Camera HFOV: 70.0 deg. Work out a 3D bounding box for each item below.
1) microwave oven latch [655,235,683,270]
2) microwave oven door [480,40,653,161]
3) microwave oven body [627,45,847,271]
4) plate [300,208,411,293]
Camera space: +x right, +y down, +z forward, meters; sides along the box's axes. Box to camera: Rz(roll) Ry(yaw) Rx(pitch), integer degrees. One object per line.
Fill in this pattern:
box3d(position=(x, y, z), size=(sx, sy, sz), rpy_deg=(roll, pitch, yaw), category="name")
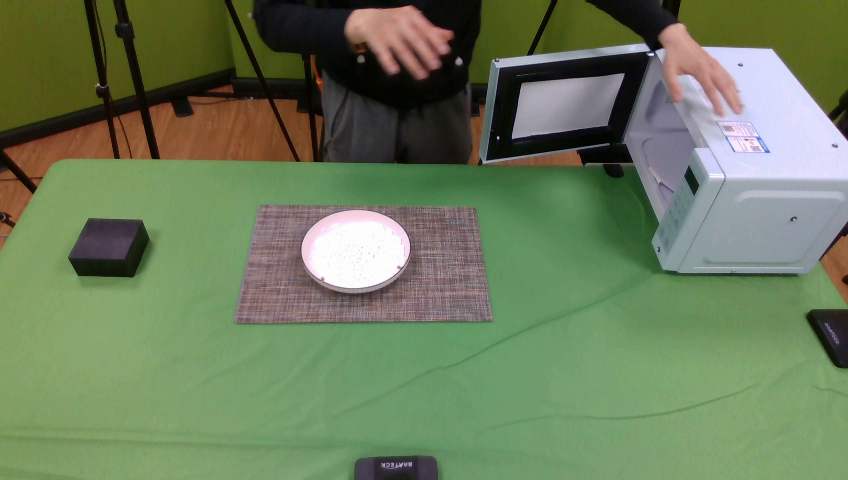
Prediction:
box3d(position=(0.473, 0.022, 1.175), size=(0.030, 0.029, 0.078), rpy_deg=(2, 46, 0), category="microwave oven latch")
box3d(position=(0.307, -0.303, 1.328), size=(0.356, 0.245, 0.039), rpy_deg=(-10, 48, -12), category="microwave oven door")
box3d(position=(0.619, -0.172, 1.234), size=(0.326, 0.261, 0.439), rpy_deg=(0, 46, -3), category="microwave oven body")
box3d(position=(-0.128, 0.022, 1.149), size=(0.209, 0.038, 0.208), rpy_deg=(2, 47, -2), category="plate")
